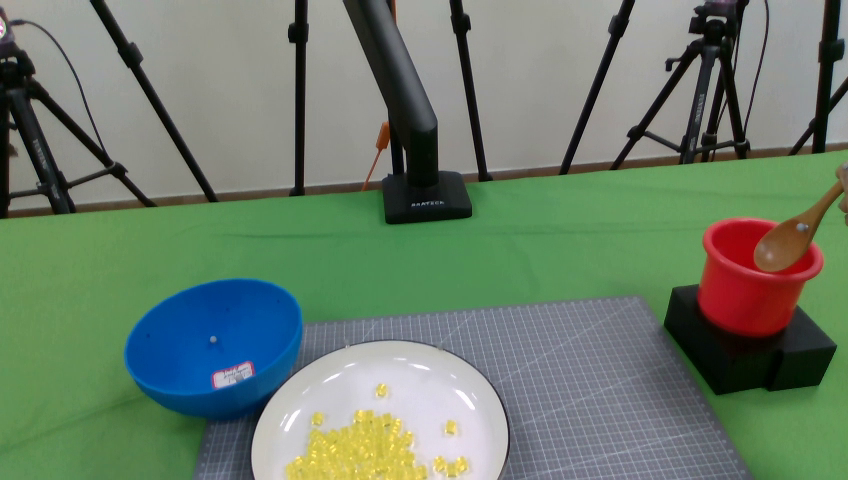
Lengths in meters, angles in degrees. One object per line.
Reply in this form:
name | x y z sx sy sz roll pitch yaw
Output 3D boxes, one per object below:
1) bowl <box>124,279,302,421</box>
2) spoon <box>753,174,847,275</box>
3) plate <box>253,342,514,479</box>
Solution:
bowl | -0.182 0.111 0.555 0.151 0.077 0.150 -1 34 1
spoon | 0.313 -0.033 0.455 0.022 0.195 0.041 8 53 -4
plate | -0.032 0.168 0.500 0.208 0.039 0.205 -1 34 1
